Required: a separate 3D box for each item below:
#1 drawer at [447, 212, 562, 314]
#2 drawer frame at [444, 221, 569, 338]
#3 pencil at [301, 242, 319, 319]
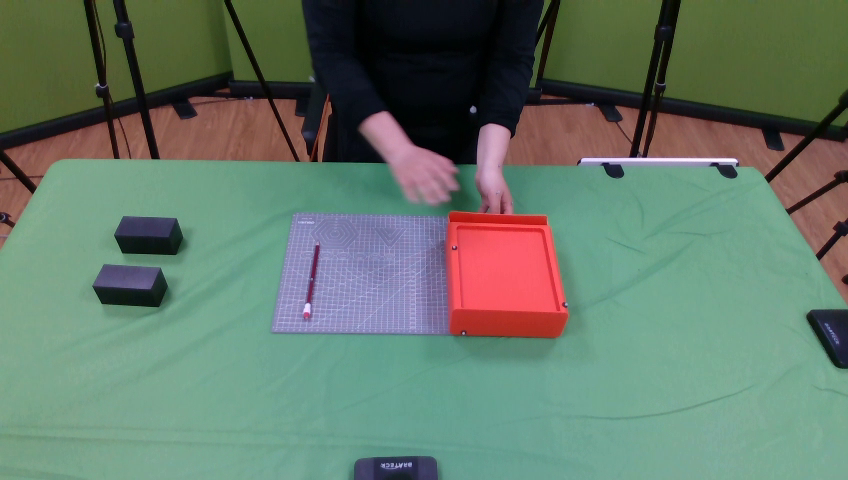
[{"bbox_3d":[0.141,0.046,1.120,0.194,0.073,0.210,3,47,-3],"label":"drawer"},{"bbox_3d":[0.141,0.067,1.097,0.202,0.083,0.212,2,46,-4],"label":"drawer frame"},{"bbox_3d":[-0.208,0.070,1.119,0.012,0.012,0.193,2,43,-2],"label":"pencil"}]
